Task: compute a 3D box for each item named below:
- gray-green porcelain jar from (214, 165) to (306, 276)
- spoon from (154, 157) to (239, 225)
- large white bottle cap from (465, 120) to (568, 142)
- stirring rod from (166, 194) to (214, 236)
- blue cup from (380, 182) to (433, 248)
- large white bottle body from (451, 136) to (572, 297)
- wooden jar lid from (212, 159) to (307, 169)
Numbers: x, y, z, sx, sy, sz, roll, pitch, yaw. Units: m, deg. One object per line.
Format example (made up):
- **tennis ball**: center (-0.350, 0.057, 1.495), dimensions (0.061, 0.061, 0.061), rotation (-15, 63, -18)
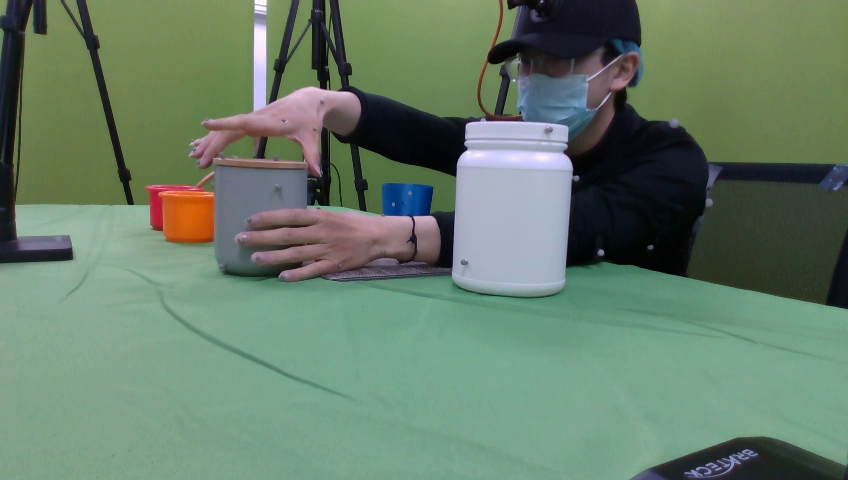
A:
- **gray-green porcelain jar**: center (-0.197, -0.024, 0.726), dimensions (0.106, 0.126, 0.106), rotation (3, 7, 0)
- **spoon**: center (-0.411, -0.092, 1.105), dimensions (0.041, 0.022, 0.194), rotation (12, 56, 52)
- **large white bottle cap**: center (0.103, -0.121, 0.677), dimensions (0.115, 0.018, 0.115), rotation (3, 7, 0)
- **stirring rod**: center (-0.341, -0.066, 0.967), dimensions (0.176, 0.006, 0.014), rotation (-42, 22, -9)
- **blue cup**: center (-0.029, -0.042, 0.979), dimensions (0.093, 0.100, 0.092), rotation (2, 9, 0)
- **large white bottle body**: center (0.099, -0.037, 0.688), dimensions (0.131, 0.184, 0.130), rotation (2, 7, 0)
- **wooden jar lid**: center (-0.194, -0.085, 0.719), dimensions (0.108, 0.020, 0.108), rotation (2, 9, 0)
